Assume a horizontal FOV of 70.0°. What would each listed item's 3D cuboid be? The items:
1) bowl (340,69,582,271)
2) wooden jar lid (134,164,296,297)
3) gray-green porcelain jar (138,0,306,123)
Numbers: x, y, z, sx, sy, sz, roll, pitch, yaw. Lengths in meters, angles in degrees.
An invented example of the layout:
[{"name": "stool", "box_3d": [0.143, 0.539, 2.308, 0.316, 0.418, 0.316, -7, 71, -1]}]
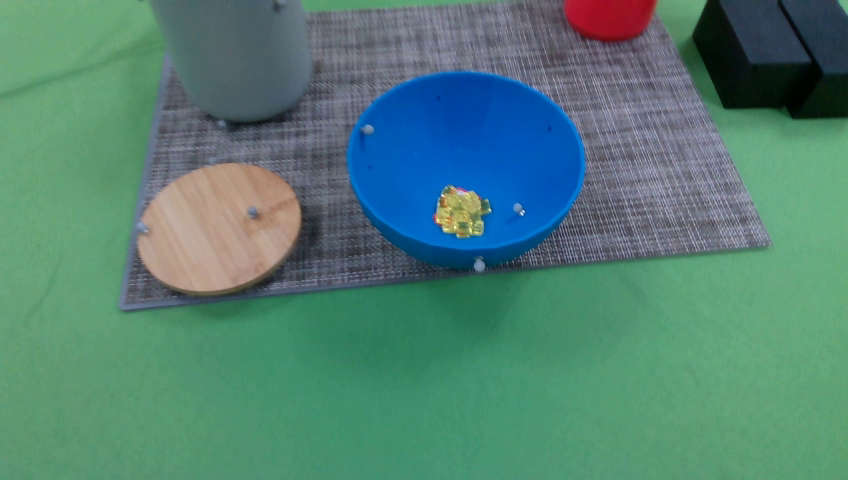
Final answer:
[{"name": "bowl", "box_3d": [0.023, -0.034, 0.408, 0.151, 0.077, 0.150, 1, 57, -1]}, {"name": "wooden jar lid", "box_3d": [-0.142, -0.006, 0.421, 0.108, 0.021, 0.107, 0, 56, 0]}, {"name": "gray-green porcelain jar", "box_3d": [-0.148, -0.162, 0.459, 0.106, 0.127, 0.105, 1, 57, -1]}]
